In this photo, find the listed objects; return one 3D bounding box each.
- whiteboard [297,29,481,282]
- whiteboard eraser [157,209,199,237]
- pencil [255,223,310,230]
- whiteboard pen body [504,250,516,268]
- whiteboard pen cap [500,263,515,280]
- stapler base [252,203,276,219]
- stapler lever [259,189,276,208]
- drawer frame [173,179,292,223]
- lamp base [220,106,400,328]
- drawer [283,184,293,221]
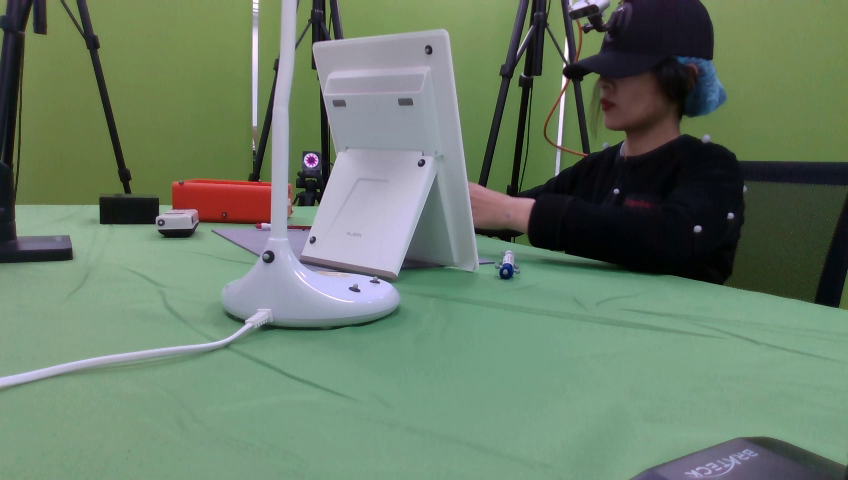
[{"bbox_3d":[-0.076,-0.082,0.741,0.216,0.305,0.144,9,29,37],"label":"whiteboard"},{"bbox_3d":[-0.411,-0.029,1.016,0.056,0.042,0.112,2,7,-16],"label":"whiteboard eraser"},{"bbox_3d":[-0.216,-0.023,1.134,0.195,0.012,0.012,1,7,-21],"label":"pencil"},{"bbox_3d":[0.115,0.031,0.815,0.017,0.017,0.141,4,8,9],"label":"whiteboard pen body"},{"bbox_3d":[0.105,0.038,0.758,0.018,0.018,0.033,4,10,9],"label":"whiteboard pen cap"},{"bbox_3d":[-0.341,-0.065,1.301,0.041,0.024,0.130,16,4,-11],"label":"stapler base"},{"bbox_3d":[-0.335,-0.090,1.300,0.027,0.040,0.118,16,4,-11],"label":"stapler lever"},{"bbox_3d":[-0.400,-0.086,1.300,0.214,0.082,0.201,1,8,-8],"label":"drawer frame"},{"bbox_3d":[-0.101,-0.023,0.531,0.160,0.180,0.179,4,10,10],"label":"lamp base"},{"bbox_3d":[-0.396,-0.085,1.301,0.212,0.073,0.194,1,8,-7],"label":"drawer"}]
